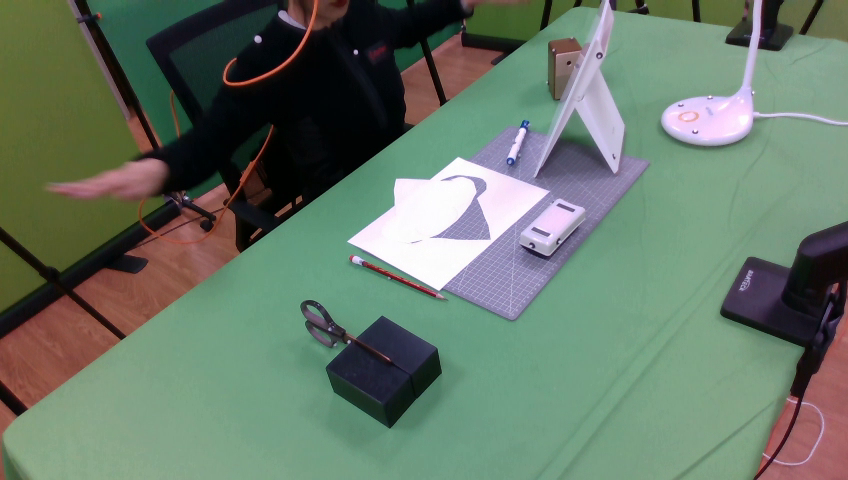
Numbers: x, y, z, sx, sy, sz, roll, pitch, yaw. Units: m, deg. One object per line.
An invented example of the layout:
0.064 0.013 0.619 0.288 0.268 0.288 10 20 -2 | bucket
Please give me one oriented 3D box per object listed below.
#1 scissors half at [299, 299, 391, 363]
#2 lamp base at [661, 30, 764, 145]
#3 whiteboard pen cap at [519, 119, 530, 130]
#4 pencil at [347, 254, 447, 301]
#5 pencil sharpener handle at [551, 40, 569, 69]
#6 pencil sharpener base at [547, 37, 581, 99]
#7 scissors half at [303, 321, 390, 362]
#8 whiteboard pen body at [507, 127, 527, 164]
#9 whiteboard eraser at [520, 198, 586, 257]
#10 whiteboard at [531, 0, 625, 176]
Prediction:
-0.107 0.120 0.794 0.174 0.040 0.013 26 45 33 | scissors half
0.535 -0.287 1.096 0.179 0.181 0.159 -10 40 -4 | lamp base
0.199 -0.226 1.204 0.018 0.018 0.033 7 41 18 | whiteboard pen cap
-0.044 0.058 0.932 0.192 0.012 0.012 22 49 29 | pencil
0.291 -0.409 1.320 0.036 0.068 0.030 2 40 -6 | pencil sharpener handle
0.299 -0.368 1.290 0.061 0.107 0.076 -8 40 2 | pencil sharpener base
-0.105 0.138 0.803 0.174 0.040 0.013 8 28 44 | scissors half
0.181 -0.189 1.162 0.017 0.017 0.140 8 42 19 | whiteboard pen body
0.203 -0.019 0.946 0.055 0.042 0.113 25 50 34 | whiteboard eraser
0.320 -0.258 1.050 0.144 0.306 0.217 22 45 5 | whiteboard
